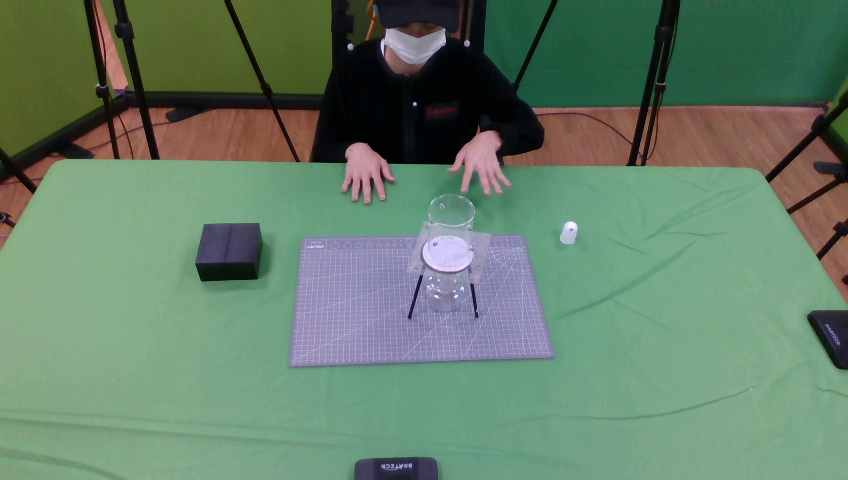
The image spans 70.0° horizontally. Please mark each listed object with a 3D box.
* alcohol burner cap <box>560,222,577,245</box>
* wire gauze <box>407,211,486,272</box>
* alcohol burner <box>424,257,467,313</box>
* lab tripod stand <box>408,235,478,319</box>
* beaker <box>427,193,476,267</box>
[{"bbox_3d":[0.295,-0.016,1.225,0.034,0.048,0.033,1,46,-1],"label":"alcohol burner cap"},{"bbox_3d":[0.036,0.004,1.003,0.125,0.011,0.120,-6,49,-3],"label":"wire gauze"},{"bbox_3d":[0.038,0.072,1.064,0.078,0.120,0.077,1,47,-1],"label":"alcohol burner"},{"bbox_3d":[0.032,0.065,1.057,0.148,0.132,0.147,1,45,-1],"label":"lab tripod stand"},{"bbox_3d":[0.039,-0.011,0.972,0.084,0.101,0.073,-30,53,-28],"label":"beaker"}]
